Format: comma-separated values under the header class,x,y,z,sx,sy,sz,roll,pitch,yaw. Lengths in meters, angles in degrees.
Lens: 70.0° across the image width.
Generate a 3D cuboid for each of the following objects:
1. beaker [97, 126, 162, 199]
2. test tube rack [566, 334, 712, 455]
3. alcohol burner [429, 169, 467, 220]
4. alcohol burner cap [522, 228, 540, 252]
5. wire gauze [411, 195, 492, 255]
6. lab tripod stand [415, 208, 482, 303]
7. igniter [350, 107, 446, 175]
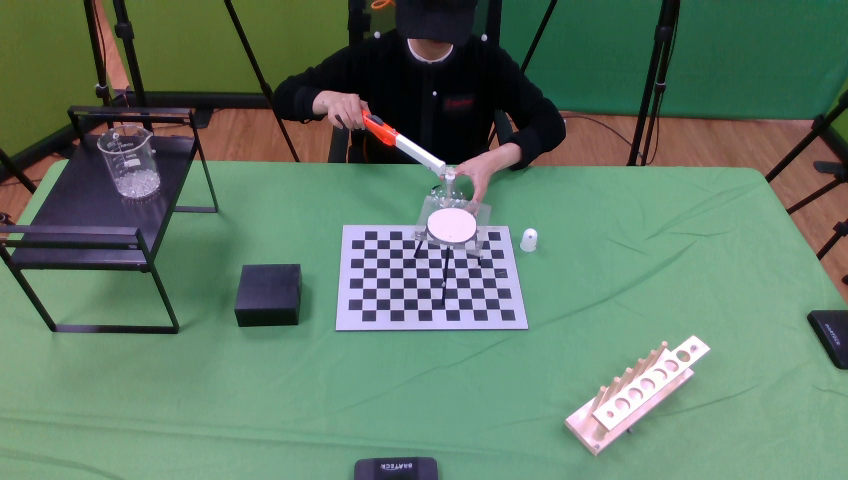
class,x,y,z,sx,sy,sz,roll,pitch,yaw
beaker,-0.468,-0.124,0.979,0.084,0.101,0.073,-25,53,-26
test tube rack,0.338,0.228,0.950,0.242,0.085,0.066,-26,52,-26
alcohol burner,0.050,-0.098,1.230,0.078,0.119,0.077,3,46,-3
alcohol burner cap,0.214,-0.003,1.198,0.034,0.048,0.033,1,46,-1
wire gauze,0.049,-0.031,1.051,0.125,0.011,0.121,12,47,9
lab tripod stand,0.043,0.018,1.097,0.148,0.132,0.147,0,46,0
igniter,-0.060,-0.212,1.263,0.275,0.057,0.025,35,62,27
